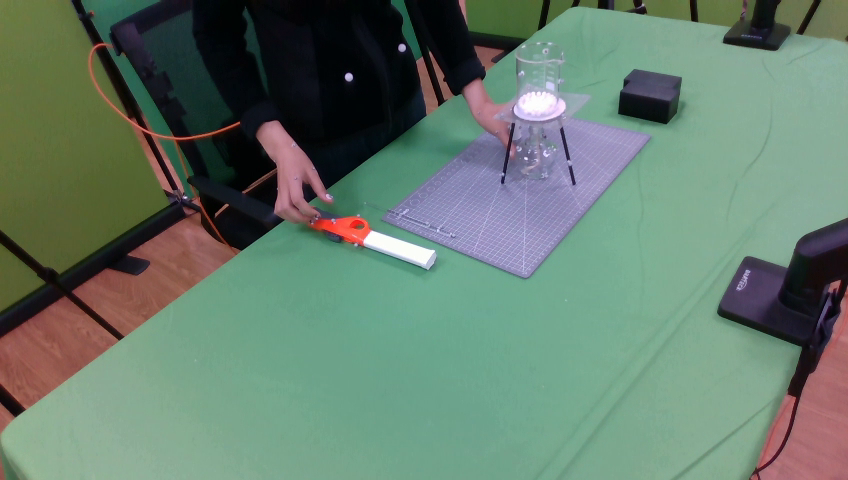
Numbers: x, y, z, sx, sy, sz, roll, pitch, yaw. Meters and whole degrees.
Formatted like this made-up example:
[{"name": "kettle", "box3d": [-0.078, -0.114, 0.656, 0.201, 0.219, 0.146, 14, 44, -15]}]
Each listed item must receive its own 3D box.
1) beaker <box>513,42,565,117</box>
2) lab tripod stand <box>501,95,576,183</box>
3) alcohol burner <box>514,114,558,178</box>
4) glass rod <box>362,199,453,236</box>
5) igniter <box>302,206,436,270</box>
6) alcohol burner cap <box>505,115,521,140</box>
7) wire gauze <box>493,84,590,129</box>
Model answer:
[{"name": "beaker", "box3d": [0.187, -0.257, 0.981, 0.083, 0.101, 0.074, 21, 49, 29]}, {"name": "lab tripod stand", "box3d": [0.204, -0.174, 1.057, 0.148, 0.132, 0.147, -4, 40, 4]}, {"name": "alcohol burner", "box3d": [0.198, -0.170, 1.069, 0.078, 0.119, 0.077, -4, 40, 4]}, {"name": "glass rod", "box3d": [-0.031, -0.041, 1.041, 0.198, 0.008, 0.008, 22, 50, 31]}, {"name": "igniter", "box3d": [-0.101, -0.007, 1.004, 0.274, 0.025, 0.057, 19, 57, 29]}, {"name": "alcohol burner cap", "box3d": [0.175, -0.223, 1.192, 0.034, 0.048, 0.033, -5, 40, 5]}, {"name": "wire gauze", "box3d": [0.197, -0.223, 1.013, 0.120, 0.011, 0.125, 21, 47, 28]}]
